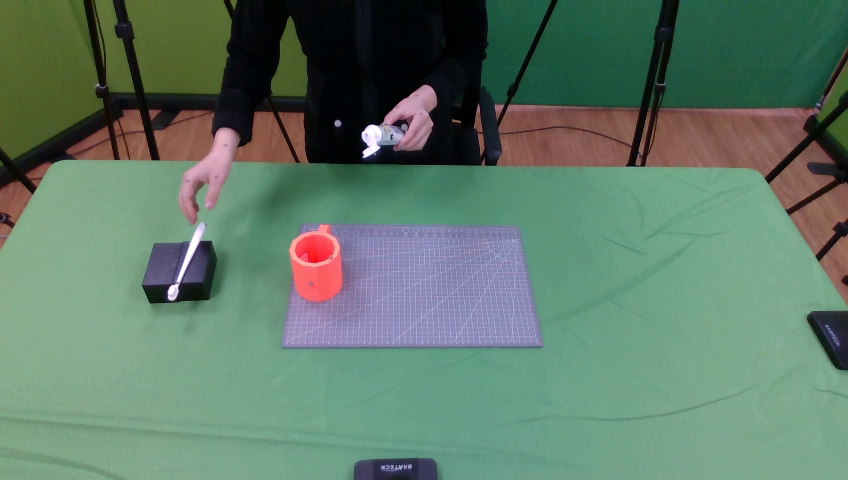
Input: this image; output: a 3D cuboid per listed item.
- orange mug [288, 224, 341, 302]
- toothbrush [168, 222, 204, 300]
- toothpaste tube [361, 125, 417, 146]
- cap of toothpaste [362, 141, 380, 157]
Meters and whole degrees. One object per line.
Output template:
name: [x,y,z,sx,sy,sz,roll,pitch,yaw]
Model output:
orange mug: [-0.192,0.034,1.094,0.083,0.101,0.125,7,50,2]
toothbrush: [-0.419,0.032,1.070,0.014,0.017,0.180,2,46,1]
toothpaste tube: [-0.064,-0.188,1.086,0.055,0.034,0.165,44,25,9]
cap of toothpaste: [-0.090,-0.152,1.007,0.037,0.011,0.037,-30,18,11]
